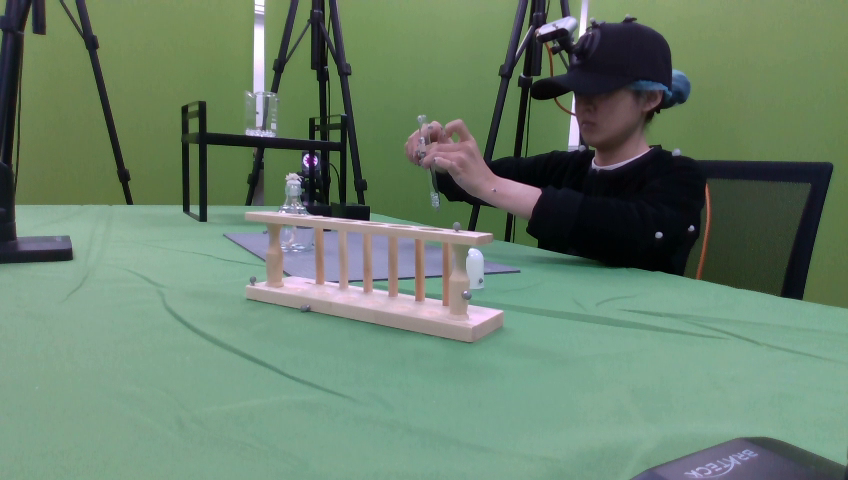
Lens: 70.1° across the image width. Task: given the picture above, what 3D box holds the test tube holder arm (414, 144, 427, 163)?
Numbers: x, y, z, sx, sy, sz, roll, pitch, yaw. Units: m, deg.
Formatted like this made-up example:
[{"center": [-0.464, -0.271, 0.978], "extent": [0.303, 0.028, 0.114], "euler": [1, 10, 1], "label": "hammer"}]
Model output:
[{"center": [-0.007, -0.148, 1.034], "extent": [0.013, 0.015, 0.178], "euler": [-1, 2, -6], "label": "test tube holder arm"}]

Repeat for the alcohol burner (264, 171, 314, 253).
[{"center": [-0.194, -0.042, 0.888], "extent": [0.078, 0.119, 0.078], "euler": [3, 5, 0], "label": "alcohol burner"}]

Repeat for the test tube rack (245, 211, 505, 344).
[{"center": [-0.049, 0.025, 0.547], "extent": [0.241, 0.085, 0.067], "euler": [7, 8, 29], "label": "test tube rack"}]

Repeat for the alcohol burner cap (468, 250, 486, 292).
[{"center": [0.056, 0.035, 0.690], "extent": [0.034, 0.048, 0.034], "euler": [2, 7, 0], "label": "alcohol burner cap"}]

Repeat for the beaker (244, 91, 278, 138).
[{"center": [-0.368, -0.280, 1.356], "extent": [0.074, 0.100, 0.084], "euler": [4, 8, 6], "label": "beaker"}]

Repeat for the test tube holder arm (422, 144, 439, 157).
[{"center": [0.006, -0.146, 0.991], "extent": [0.010, 0.015, 0.087], "euler": [-2, 2, -17], "label": "test tube holder arm"}]

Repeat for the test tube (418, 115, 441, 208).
[{"center": [0.009, -0.126, 0.972], "extent": [0.017, 0.150, 0.017], "euler": [-9, 6, 1], "label": "test tube"}]
